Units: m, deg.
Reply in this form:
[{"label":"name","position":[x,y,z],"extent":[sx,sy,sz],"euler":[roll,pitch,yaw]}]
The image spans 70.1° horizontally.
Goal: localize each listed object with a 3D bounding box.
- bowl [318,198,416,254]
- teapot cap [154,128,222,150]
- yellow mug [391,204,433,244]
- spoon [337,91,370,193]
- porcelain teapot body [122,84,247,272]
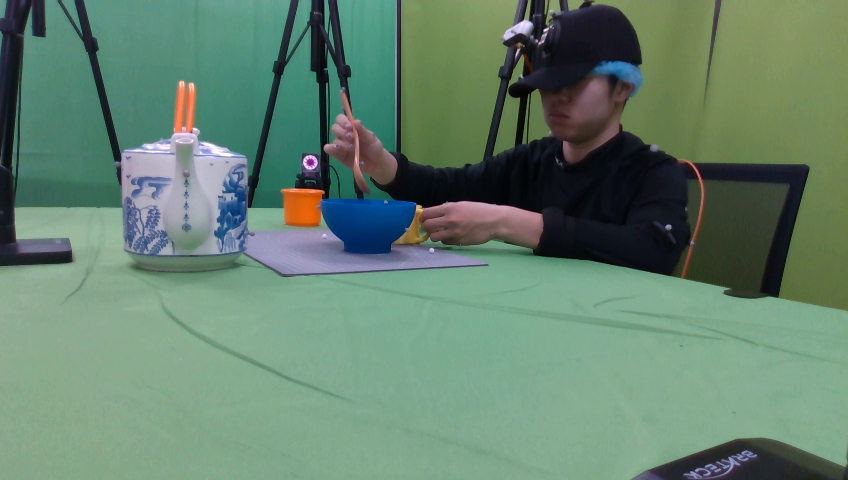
[{"label":"bowl","position":[-0.089,-0.022,0.941],"extent":[0.151,0.077,0.151],"euler":[2,7,0]},{"label":"teapot cap","position":[-0.294,-0.117,0.754],"extent":[0.085,0.044,0.085],"euler":[4,9,0]},{"label":"yellow mug","position":[-0.042,-0.030,1.070],"extent":[0.130,0.064,0.100],"euler":[7,8,28]},{"label":"spoon","position":[-0.120,-0.167,1.014],"extent":[0.022,0.193,0.041],"euler":[-12,-18,-4]},{"label":"porcelain teapot body","position":[-0.286,-0.075,0.733],"extent":[0.146,0.225,0.204],"euler":[0,8,-24]}]
